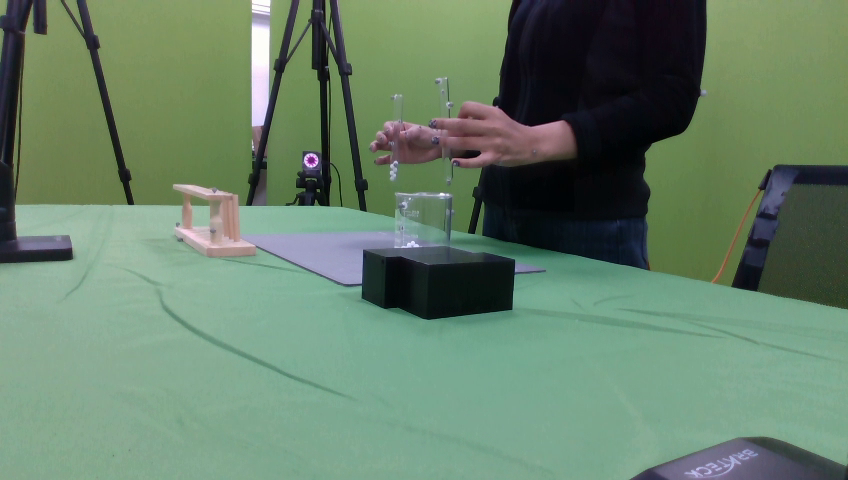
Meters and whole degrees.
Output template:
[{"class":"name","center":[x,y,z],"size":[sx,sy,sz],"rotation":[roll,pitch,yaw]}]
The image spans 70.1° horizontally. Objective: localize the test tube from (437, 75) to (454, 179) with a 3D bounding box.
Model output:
[{"class":"test tube","center":[0.032,-0.163,0.882],"size":[0.017,0.150,0.017],"rotation":[-4,15,1]}]

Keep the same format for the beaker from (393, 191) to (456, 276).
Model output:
[{"class":"beaker","center":[-0.003,-0.010,0.749],"size":[0.074,0.100,0.083],"rotation":[-3,8,-40]}]

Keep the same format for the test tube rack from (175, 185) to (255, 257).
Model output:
[{"class":"test tube rack","center":[-0.324,-0.035,0.922],"size":[0.067,0.085,0.241],"rotation":[-2,9,-31]}]

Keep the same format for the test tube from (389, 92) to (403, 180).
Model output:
[{"class":"test tube","center":[-0.049,-0.178,1.043],"size":[0.017,0.150,0.017],"rotation":[4,11,0]}]
